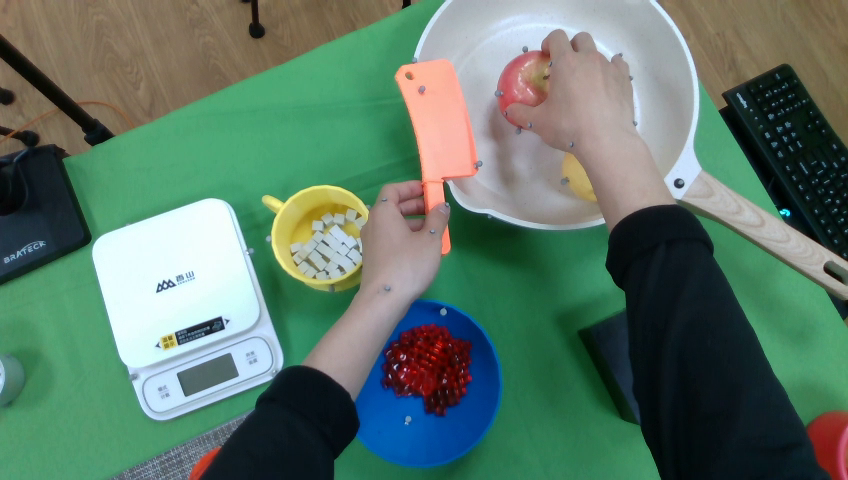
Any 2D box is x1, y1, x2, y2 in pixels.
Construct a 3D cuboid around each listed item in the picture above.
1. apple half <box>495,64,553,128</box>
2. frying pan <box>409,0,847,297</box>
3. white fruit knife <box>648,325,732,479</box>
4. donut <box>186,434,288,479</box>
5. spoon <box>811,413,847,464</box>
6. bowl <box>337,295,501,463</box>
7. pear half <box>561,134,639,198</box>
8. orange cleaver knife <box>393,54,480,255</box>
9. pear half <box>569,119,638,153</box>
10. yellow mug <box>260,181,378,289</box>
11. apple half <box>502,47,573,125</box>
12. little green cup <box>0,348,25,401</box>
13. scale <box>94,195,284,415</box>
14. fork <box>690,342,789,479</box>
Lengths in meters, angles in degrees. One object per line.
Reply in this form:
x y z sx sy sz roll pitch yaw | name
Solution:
0.096 -0.140 0.629 0.033 0.081 0.081 -42 82 -8 | apple half
0.210 -0.091 0.613 0.485 0.103 0.306 37 83 14 | frying pan
0.257 0.173 0.579 0.016 0.027 0.207 -27 95 -4 | white fruit knife
-0.179 0.237 0.580 0.099 0.048 0.098 0 81 2 | donut
0.433 0.228 0.536 0.041 0.022 0.191 -30 37 -6 | spoon
-0.004 0.132 0.587 0.151 0.077 0.151 0 80 0 | bowl
0.176 -0.074 0.603 0.076 0.110 0.056 11 80 6 | pear half
0.018 -0.089 0.593 0.077 0.012 0.210 -3 75 -22 | orange cleaver knife
0.186 -0.107 0.619 0.070 0.088 0.031 14 83 6 | pear half
-0.113 -0.011 0.617 0.130 0.064 0.100 32 81 6 | yellow mug
0.124 -0.166 0.634 0.053 0.075 0.080 -42 80 -9 | apple half
-0.436 0.136 0.605 0.061 0.039 0.061 0 79 0 | little green cup
-0.241 0.064 0.622 0.149 0.031 0.200 -21 81 -3 | scale
0.318 0.187 0.584 0.028 0.018 0.208 -34 97 -8 | fork
